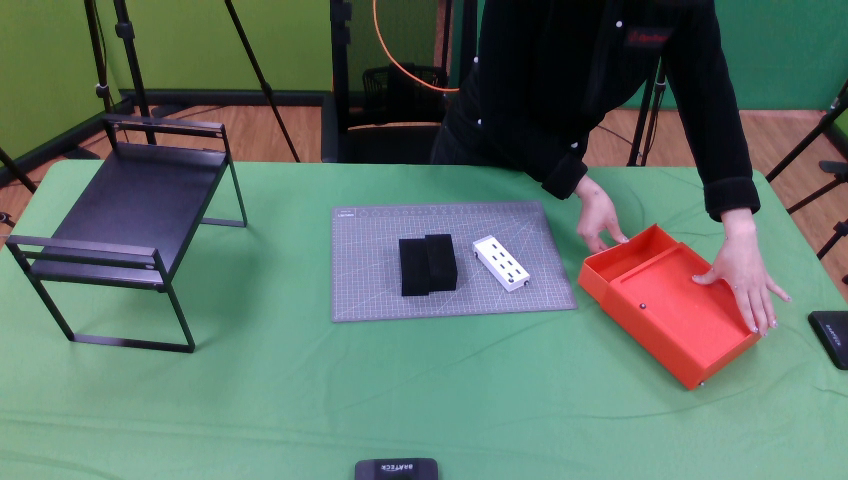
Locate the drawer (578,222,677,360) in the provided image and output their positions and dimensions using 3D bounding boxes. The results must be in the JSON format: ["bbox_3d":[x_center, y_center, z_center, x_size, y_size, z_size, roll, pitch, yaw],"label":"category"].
[{"bbox_3d":[0.425,0.088,1.107,0.194,0.073,0.210,-23,55,-25],"label":"drawer"}]

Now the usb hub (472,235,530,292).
[{"bbox_3d":[0.145,0.043,1.159,0.049,0.025,0.124,-23,51,-22],"label":"usb hub"}]

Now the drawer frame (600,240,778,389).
[{"bbox_3d":[0.460,0.122,1.067,0.202,0.083,0.212,-25,53,-25],"label":"drawer frame"}]
